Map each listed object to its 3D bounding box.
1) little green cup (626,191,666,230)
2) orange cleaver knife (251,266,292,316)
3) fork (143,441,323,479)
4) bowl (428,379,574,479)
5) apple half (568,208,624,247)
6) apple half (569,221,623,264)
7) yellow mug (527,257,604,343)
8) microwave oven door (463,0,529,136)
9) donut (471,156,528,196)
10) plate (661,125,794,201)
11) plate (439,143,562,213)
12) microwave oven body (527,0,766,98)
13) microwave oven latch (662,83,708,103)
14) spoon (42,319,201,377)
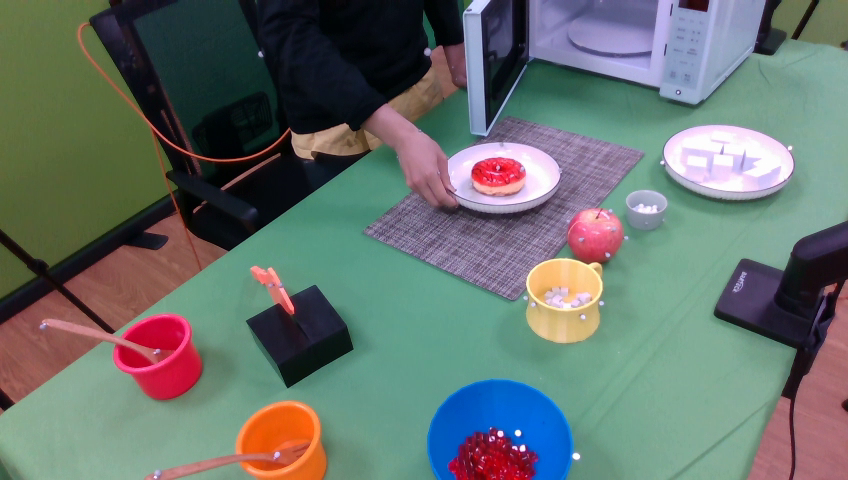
[{"bbox_3d":[0.352,-0.046,0.963,0.061,0.039,0.061,-4,40,4],"label":"little green cup"},{"bbox_3d":[-0.221,0.071,0.873,0.012,0.077,0.210,-25,11,-21],"label":"orange cleaver knife"},{"bbox_3d":[-0.189,0.231,0.631,0.028,0.018,0.209,37,14,37],"label":"fork"},{"bbox_3d":[0.082,0.233,0.644,0.151,0.077,0.150,-4,39,4],"label":"bowl"},{"bbox_3d":[0.259,-0.014,0.914,0.080,0.075,0.053,0,36,15],"label":"apple half"},{"bbox_3d":[0.251,0.010,0.884,0.081,0.081,0.032,3,37,12],"label":"apple half"},{"bbox_3d":[0.202,0.072,0.825,0.131,0.064,0.099,-32,46,-27],"label":"yellow mug"},{"bbox_3d":[0.156,-0.410,1.236,0.039,0.245,0.355,10,43,19],"label":"microwave oven door"},{"bbox_3d":[0.130,-0.112,1.038,0.099,0.048,0.098,-2,35,2],"label":"donut"},{"bbox_3d":[0.513,-0.128,1.035,0.207,0.039,0.206,-4,40,4],"label":"plate"},{"bbox_3d":[0.132,-0.104,1.047,0.209,0.038,0.208,-2,37,2],"label":"plate"},{"bbox_3d":[0.472,-0.513,1.317,0.438,0.261,0.327,25,51,34],"label":"microwave oven body"},{"bbox_3d":[0.517,-0.296,1.204,0.078,0.029,0.030,27,52,35],"label":"microwave oven latch"},{"bbox_3d":[-0.385,0.135,0.779,0.195,0.021,0.041,29,36,-26],"label":"spoon"}]
